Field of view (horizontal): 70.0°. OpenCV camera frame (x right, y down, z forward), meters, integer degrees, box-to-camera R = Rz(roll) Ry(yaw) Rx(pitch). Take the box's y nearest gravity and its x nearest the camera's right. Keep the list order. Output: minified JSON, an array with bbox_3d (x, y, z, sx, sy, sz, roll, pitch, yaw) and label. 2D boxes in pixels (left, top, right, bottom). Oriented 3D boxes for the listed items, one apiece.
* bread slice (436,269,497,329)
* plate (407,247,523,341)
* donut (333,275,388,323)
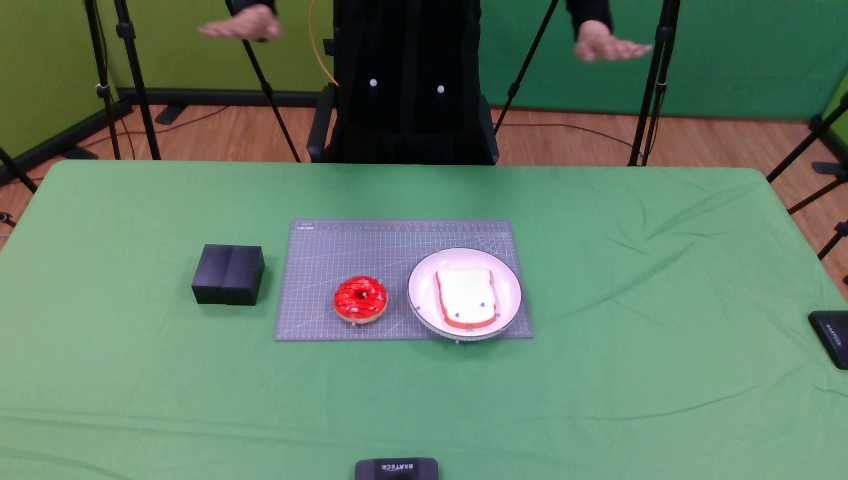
[{"bbox_3d":[0.081,0.103,1.092,0.105,0.019,0.130,-3,46,-5],"label":"bread slice"},{"bbox_3d":[0.073,0.099,1.093,0.209,0.038,0.208,2,46,-2],"label":"plate"},{"bbox_3d":[-0.112,0.103,1.072,0.099,0.048,0.098,0,46,0],"label":"donut"}]
